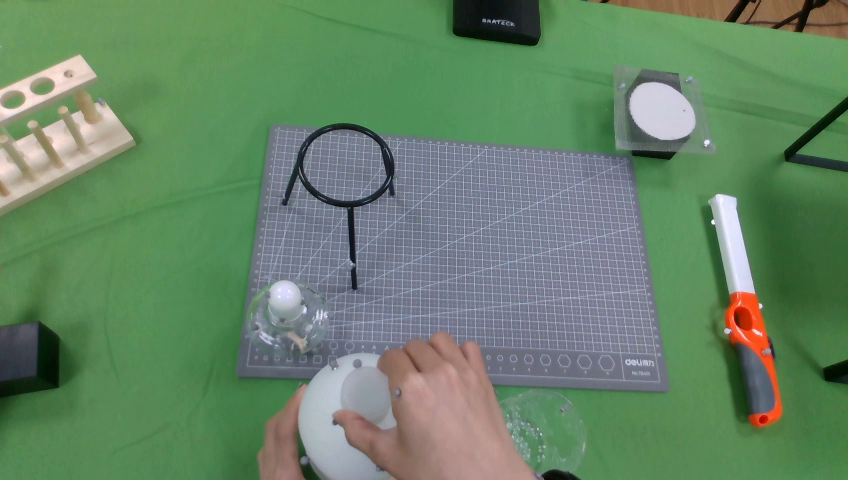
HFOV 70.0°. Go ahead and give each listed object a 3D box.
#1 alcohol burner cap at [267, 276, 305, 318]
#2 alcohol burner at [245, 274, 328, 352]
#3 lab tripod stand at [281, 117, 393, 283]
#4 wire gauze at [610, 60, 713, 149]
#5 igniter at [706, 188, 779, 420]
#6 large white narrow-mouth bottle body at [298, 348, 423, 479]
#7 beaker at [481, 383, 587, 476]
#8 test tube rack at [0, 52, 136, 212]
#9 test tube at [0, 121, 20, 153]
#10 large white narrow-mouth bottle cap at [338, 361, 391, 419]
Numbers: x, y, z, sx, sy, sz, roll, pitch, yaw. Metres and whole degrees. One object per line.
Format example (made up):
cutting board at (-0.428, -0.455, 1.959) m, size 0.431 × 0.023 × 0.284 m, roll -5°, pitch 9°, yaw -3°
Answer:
alcohol burner cap at (-0.123, 0.049, 0.534) m, size 0.034 × 0.048 × 0.033 m, roll 2°, pitch 71°, yaw -7°
alcohol burner at (-0.129, 0.063, 0.567) m, size 0.078 × 0.120 × 0.077 m, roll 5°, pitch 64°, yaw -9°
lab tripod stand at (-0.080, -0.046, 0.614) m, size 0.149 × 0.132 × 0.147 m, roll 4°, pitch 66°, yaw -9°
wire gauze at (0.289, -0.165, 0.746) m, size 0.122 × 0.011 × 0.124 m, roll 5°, pitch 66°, yaw -6°
igniter at (0.364, 0.065, 0.696) m, size 0.057 × 0.025 × 0.274 m, roll 9°, pitch 65°, yaw -17°
large white narrow-mouth bottle body at (-0.052, 0.145, 0.501) m, size 0.102 × 0.196 × 0.101 m, roll 3°, pitch 65°, yaw -6°
beaker at (0.094, 0.178, 0.562) m, size 0.084 × 0.101 × 0.073 m, roll 30°, pitch 64°, yaw 6°
test tube rack at (-0.429, -0.087, 0.605) m, size 0.242 × 0.085 × 0.066 m, roll -36°, pitch 75°, yaw -22°
test tube at (-0.419, -0.131, 0.572) m, size 0.017 × 0.151 × 0.017 m, roll 4°, pitch 60°, yaw -7°
large white narrow-mouth bottle cap at (-0.041, 0.103, 0.415) m, size 0.038 × 0.024 × 0.037 m, roll 3°, pitch 65°, yaw -7°
